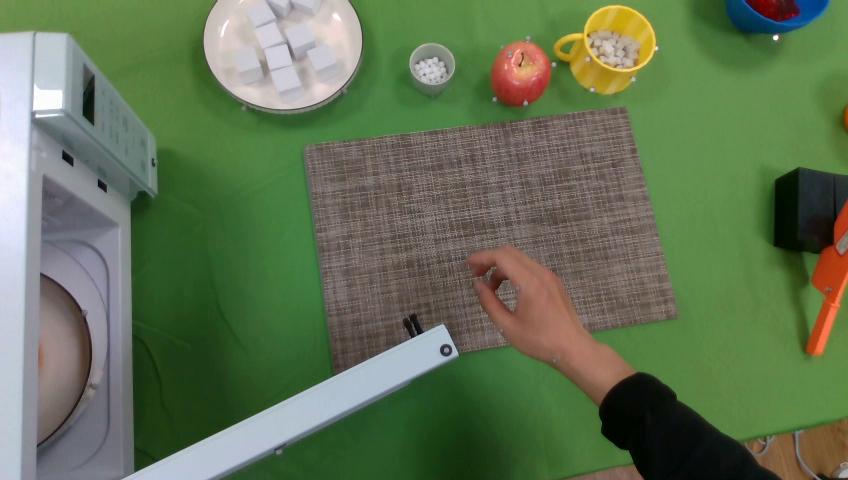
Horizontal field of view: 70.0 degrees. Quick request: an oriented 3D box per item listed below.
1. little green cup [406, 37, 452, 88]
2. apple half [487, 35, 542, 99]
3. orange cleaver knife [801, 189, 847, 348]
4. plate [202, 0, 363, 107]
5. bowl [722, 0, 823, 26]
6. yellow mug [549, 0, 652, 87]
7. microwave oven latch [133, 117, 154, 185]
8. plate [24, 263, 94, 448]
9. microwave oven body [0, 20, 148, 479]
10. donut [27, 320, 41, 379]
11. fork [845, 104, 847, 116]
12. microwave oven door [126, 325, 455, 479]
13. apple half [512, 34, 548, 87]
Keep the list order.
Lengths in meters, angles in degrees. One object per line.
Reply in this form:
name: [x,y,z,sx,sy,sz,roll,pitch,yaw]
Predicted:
little green cup: [0.006,-0.239,0.822,0.061,0.039,0.061,1,77,-4]
apple half: [0.113,-0.223,0.811,0.053,0.075,0.080,-35,86,-7]
orange cleaver knife: [0.525,0.036,0.783,0.012,0.077,0.212,10,109,-1]
plate: [-0.186,-0.270,0.811,0.208,0.039,0.206,1,77,-5]
bowl: [0.488,-0.366,0.874,0.151,0.077,0.150,1,78,-4]
yellow mug: [0.238,-0.272,0.836,0.131,0.064,0.099,2,77,-4]
microwave oven latch: [-0.348,-0.108,0.741,0.030,0.029,0.079,-4,79,-7]
plate: [-0.452,0.123,0.635,0.209,0.038,0.208,1,78,-6]
microwave oven body: [-0.466,0.055,0.595,0.326,0.261,0.439,-6,79,-7]
donut: [-0.450,0.117,0.624,0.099,0.048,0.098,1,79,-7]
fork: [0.694,-0.201,0.820,0.206,0.019,0.028,-11,71,37]
microwave oven door: [-0.145,0.177,0.593,0.356,0.244,0.039,-25,79,-10]
apple half: [0.144,-0.245,0.817,0.033,0.081,0.081,-36,82,-7]
